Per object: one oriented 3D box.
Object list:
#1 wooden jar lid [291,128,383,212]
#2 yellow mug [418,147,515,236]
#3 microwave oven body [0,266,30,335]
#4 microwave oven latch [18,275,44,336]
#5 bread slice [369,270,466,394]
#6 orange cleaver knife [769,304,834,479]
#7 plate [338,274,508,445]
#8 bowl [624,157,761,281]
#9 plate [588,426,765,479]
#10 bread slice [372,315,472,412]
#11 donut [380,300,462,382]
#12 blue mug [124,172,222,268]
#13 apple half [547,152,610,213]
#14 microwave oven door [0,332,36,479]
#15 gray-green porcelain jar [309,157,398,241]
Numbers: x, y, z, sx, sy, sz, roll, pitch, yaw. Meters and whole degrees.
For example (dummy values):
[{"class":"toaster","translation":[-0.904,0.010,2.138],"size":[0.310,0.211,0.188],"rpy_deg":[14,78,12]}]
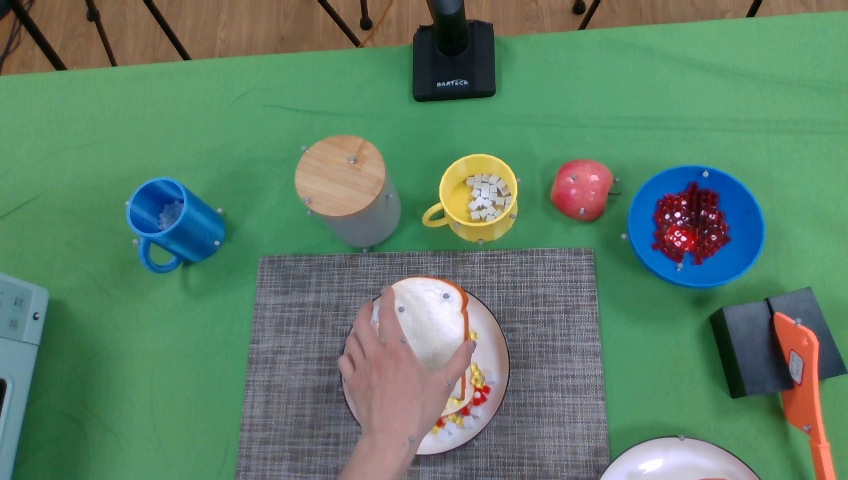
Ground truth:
[{"class":"wooden jar lid","translation":[-0.102,-0.081,0.717],"size":[0.108,0.021,0.107],"rpy_deg":[-2,70,5]},{"class":"yellow mug","translation":[0.053,-0.056,0.788],"size":[0.131,0.064,0.099],"rpy_deg":[-23,71,1]},{"class":"microwave oven body","translation":[-0.701,0.231,0.692],"size":[0.326,0.262,0.439],"rpy_deg":[-1,73,7]},{"class":"microwave oven latch","translation":[-0.538,0.088,0.817],"size":[0.030,0.030,0.078],"rpy_deg":[1,73,8]},{"class":"bread slice","translation":[-0.007,0.098,0.662],"size":[0.104,0.019,0.131],"rpy_deg":[4,92,13]},{"class":"orange cleaver knife","translation":[0.408,0.174,0.658],"size":[0.012,0.077,0.211],"rpy_deg":[-11,93,-3]},{"class":"plate","translation":[-0.001,0.143,0.743],"size":[0.207,0.039,0.206],"rpy_deg":[-2,73,7]},{"class":"bowl","translation":[0.313,-0.015,0.733],"size":[0.151,0.077,0.150],"rpy_deg":[-2,72,8]},{"class":"plate","translation":[0.275,0.309,0.656],"size":[0.209,0.038,0.208],"rpy_deg":[-2,72,8]},{"class":"bread slice","translation":[0.005,0.141,0.743],"size":[0.107,0.018,0.133],"rpy_deg":[-19,73,2]},{"class":"donut","translation":[-0.003,0.120,0.721],"size":[0.099,0.048,0.098],"rpy_deg":[-2,72,8]},{"class":"blue mug","translation":[-0.338,-0.018,0.808],"size":[0.082,0.106,0.116],"rpy_deg":[19,76,13]},{"class":"apple half","translation":[0.200,-0.081,0.782],"size":[0.074,0.054,0.080],"rpy_deg":[20,77,16]},{"class":"microwave oven door","translation":[-0.558,0.265,0.656],"size":[0.039,0.245,0.353],"rpy_deg":[-2,72,8]},{"class":"gray-green porcelain jar","translation":[-0.092,-0.061,0.777],"size":[0.106,0.127,0.105],"rpy_deg":[-2,72,7]}]
